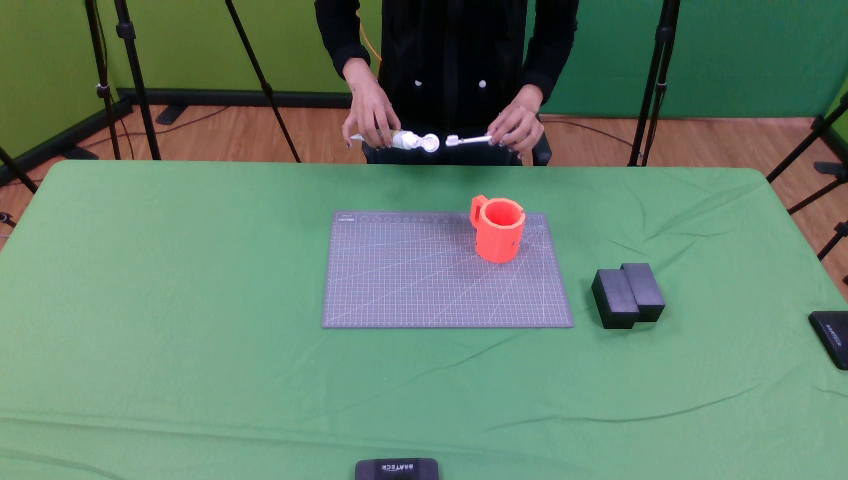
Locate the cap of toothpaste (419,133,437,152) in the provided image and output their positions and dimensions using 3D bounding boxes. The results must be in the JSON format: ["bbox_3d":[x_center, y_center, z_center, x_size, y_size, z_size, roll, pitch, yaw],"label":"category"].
[{"bbox_3d":[0.007,-0.188,1.166,0.037,0.037,0.011,19,11,15],"label":"cap of toothpaste"}]

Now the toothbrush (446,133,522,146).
[{"bbox_3d":[0.119,-0.194,1.156,0.182,0.014,0.016,-10,57,-33],"label":"toothbrush"}]

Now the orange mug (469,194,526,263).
[{"bbox_3d":[0.136,-0.030,1.180,0.083,0.101,0.125,-26,58,-26],"label":"orange mug"}]

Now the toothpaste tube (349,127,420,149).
[{"bbox_3d":[-0.074,-0.207,1.201,0.164,0.034,0.055,16,33,36],"label":"toothpaste tube"}]
